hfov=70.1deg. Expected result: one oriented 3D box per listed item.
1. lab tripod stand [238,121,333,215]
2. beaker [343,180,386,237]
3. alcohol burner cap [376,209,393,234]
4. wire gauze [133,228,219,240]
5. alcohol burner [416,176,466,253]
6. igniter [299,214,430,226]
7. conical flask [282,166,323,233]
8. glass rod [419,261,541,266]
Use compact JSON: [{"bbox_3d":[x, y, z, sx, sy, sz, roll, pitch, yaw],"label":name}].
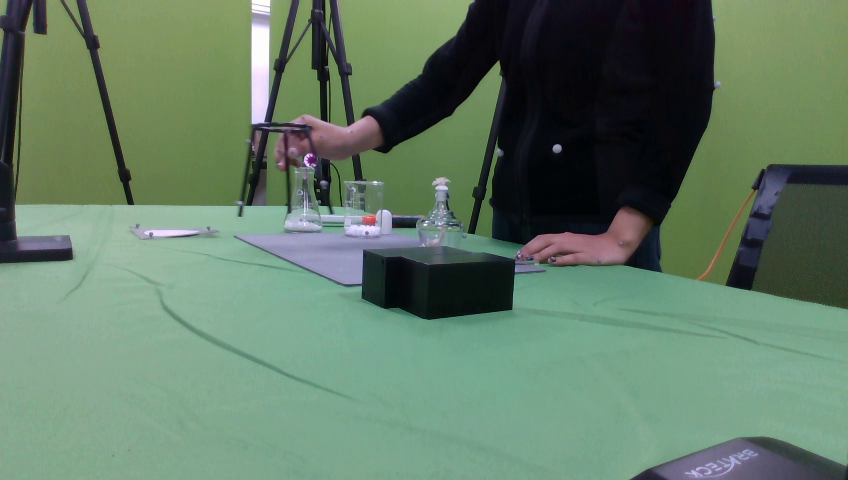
[{"bbox_3d":[-0.200,-0.103,0.885,0.148,0.131,0.148,0,3,0],"label":"lab tripod stand"},{"bbox_3d":[-0.111,-0.058,1.090,0.083,0.100,0.074,7,8,33],"label":"beaker"},{"bbox_3d":[-0.075,-0.036,1.150,0.034,0.048,0.034,2,7,0],"label":"alcohol burner cap"},{"bbox_3d":[-0.421,-0.014,1.024,0.122,0.011,0.124,-2,7,-34],"label":"wire gauze"},{"bbox_3d":[0.027,-0.039,0.934,0.078,0.119,0.078,2,9,0],"label":"alcohol burner"},{"bbox_3d":[-0.123,-0.044,1.281,0.278,0.025,0.057,0,-3,-19],"label":"igniter"},{"bbox_3d":[-0.225,-0.076,1.129,0.075,0.122,0.075,2,8,0],"label":"conical flask"},{"bbox_3d":[0.080,0.031,0.807,0.201,0.008,0.008,1,6,-32],"label":"glass rod"}]
